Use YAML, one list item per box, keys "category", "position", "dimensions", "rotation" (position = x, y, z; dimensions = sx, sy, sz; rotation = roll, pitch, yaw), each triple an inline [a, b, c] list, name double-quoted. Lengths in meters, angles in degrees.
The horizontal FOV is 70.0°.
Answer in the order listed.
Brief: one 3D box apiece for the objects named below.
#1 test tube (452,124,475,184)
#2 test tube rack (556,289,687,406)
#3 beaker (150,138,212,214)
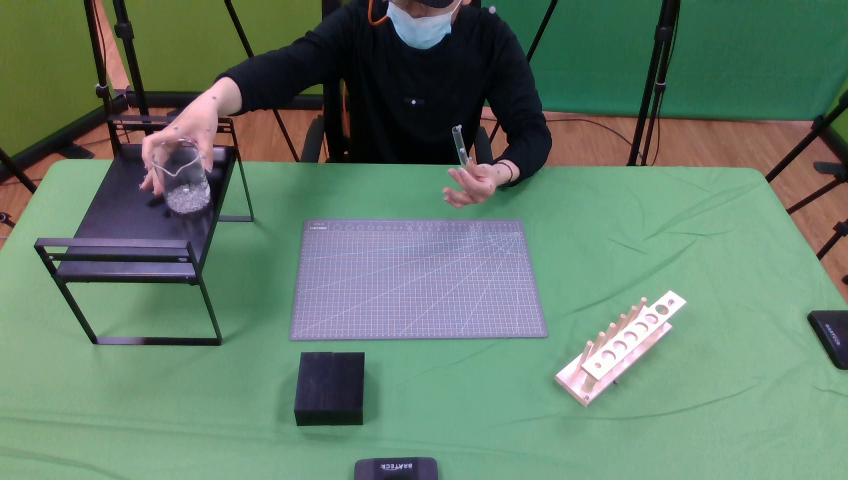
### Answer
- category: "test tube"
  position: [0.073, -0.151, 1.090]
  dimensions: [0.017, 0.151, 0.017]
  rotation: [-8, 54, 12]
- category: "test tube rack"
  position: [0.332, 0.165, 1.014]
  dimensions: [0.242, 0.085, 0.066]
  rotation: [-31, 55, -28]
- category: "beaker"
  position: [-0.380, -0.096, 0.957]
  dimensions: [0.074, 0.101, 0.083]
  rotation: [-7, 48, -10]
